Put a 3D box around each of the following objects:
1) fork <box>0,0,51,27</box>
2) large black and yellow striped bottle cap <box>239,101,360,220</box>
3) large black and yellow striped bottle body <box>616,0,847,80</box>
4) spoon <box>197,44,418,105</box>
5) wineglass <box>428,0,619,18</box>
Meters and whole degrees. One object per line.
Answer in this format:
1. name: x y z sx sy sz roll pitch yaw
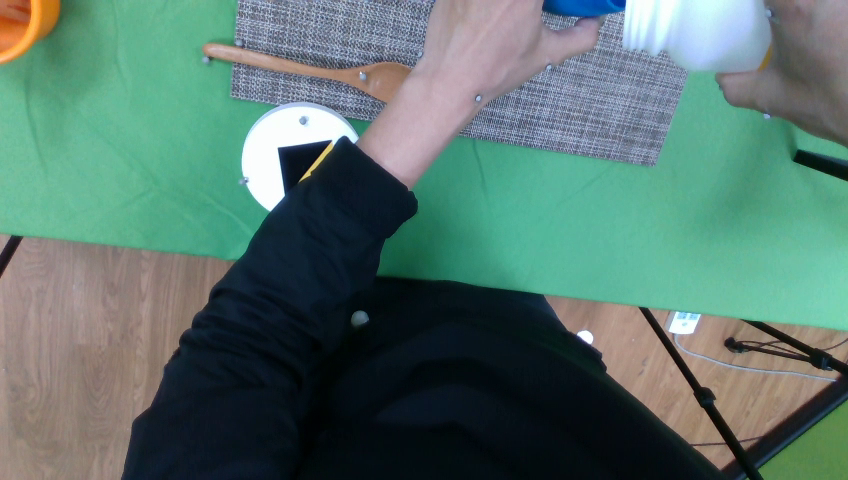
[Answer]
1. fork: -0.355 -0.178 0.396 0.028 0.018 0.208 -57 157 19
2. large black and yellow striped bottle cap: -0.118 -0.074 0.579 0.115 0.018 0.116 -6 119 -11
3. large black and yellow striped bottle body: 0.209 -0.160 0.342 0.183 0.130 0.131 8 116 17
4. spoon: -0.100 -0.152 0.541 0.194 0.021 0.042 5 134 -17
5. wineglass: 0.076 -0.207 0.460 0.074 0.170 0.074 -18 117 -37
